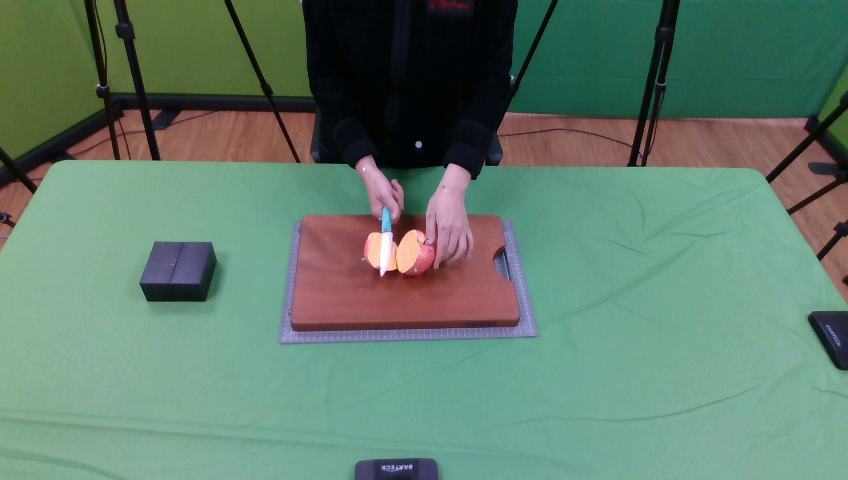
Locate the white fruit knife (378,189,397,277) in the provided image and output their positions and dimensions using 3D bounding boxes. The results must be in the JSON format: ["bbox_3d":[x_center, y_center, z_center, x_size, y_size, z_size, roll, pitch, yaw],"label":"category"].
[{"bbox_3d":[-0.071,-0.018,1.129,0.027,0.016,0.206,25,49,-26],"label":"white fruit knife"}]

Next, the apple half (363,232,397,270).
[{"bbox_3d":[-0.084,0.028,1.112,0.082,0.033,0.081,24,50,-32],"label":"apple half"}]

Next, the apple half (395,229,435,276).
[{"bbox_3d":[-0.012,0.027,1.097,0.053,0.075,0.080,19,35,-32],"label":"apple half"}]
